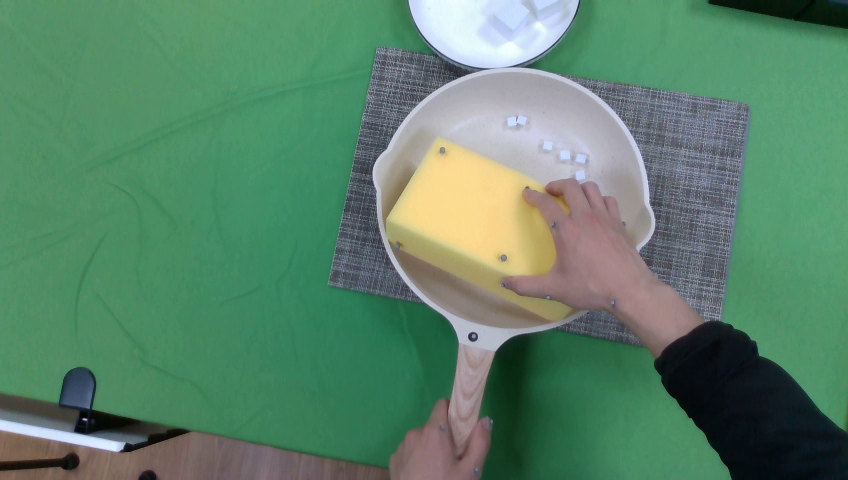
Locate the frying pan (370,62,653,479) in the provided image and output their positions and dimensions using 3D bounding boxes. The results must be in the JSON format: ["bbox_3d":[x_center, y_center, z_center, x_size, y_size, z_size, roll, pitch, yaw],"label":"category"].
[{"bbox_3d":[0.067,0.050,0.653,0.306,0.103,0.485,13,76,6],"label":"frying pan"}]

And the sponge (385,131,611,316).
[{"bbox_3d":[0.076,-0.018,0.645,0.206,0.061,0.117,24,67,7],"label":"sponge"}]

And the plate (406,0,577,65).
[{"bbox_3d":[0.081,-0.306,0.730,0.207,0.039,0.207,0,84,4],"label":"plate"}]

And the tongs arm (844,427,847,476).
[{"bbox_3d":[0.506,0.082,0.666,0.028,0.028,0.386,13,85,3],"label":"tongs arm"}]
